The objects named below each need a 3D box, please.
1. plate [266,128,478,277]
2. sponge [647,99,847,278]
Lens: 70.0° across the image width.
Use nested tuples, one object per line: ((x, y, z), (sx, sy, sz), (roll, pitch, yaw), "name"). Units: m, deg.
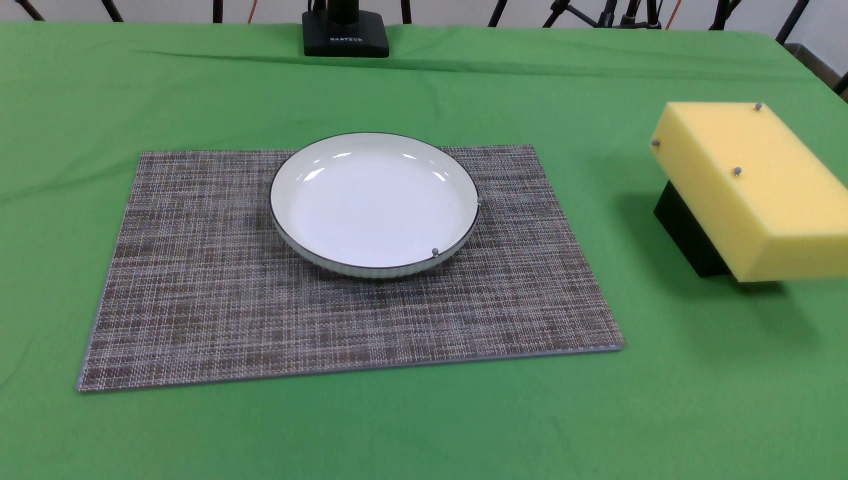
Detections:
((-0.051, -0.037, 0.610), (0.208, 0.039, 0.205), (4, 45, -4), "plate")
((0.325, -0.059, 0.603), (0.118, 0.061, 0.204), (-3, 46, -10), "sponge")
